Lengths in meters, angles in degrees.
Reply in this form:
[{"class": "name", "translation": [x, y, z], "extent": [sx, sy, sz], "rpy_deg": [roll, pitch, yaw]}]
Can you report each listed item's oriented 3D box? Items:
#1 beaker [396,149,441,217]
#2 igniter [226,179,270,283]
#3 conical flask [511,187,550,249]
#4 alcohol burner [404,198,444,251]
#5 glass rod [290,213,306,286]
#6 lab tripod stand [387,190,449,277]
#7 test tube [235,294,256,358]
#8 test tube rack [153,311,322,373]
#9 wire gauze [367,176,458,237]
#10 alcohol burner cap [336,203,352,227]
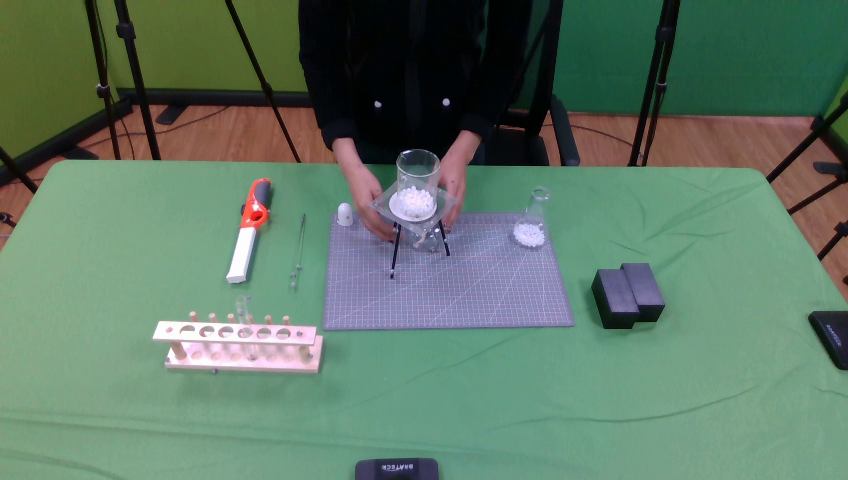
[{"class": "beaker", "translation": [-0.015, -0.098, 1.053], "extent": [0.074, 0.101, 0.083], "rpy_deg": [-31, 55, -30]}, {"class": "igniter", "translation": [-0.345, -0.027, 1.195], "extent": [0.057, 0.025, 0.274], "rpy_deg": [-6, 46, 5]}, {"class": "conical flask", "translation": [0.217, -0.048, 1.190], "extent": [0.075, 0.122, 0.075], "rpy_deg": [2, 46, -2]}, {"class": "alcohol burner", "translation": [0.001, -0.036, 1.167], "extent": [0.078, 0.119, 0.077], "rpy_deg": [4, 46, -4]}, {"class": "glass rod", "translation": [-0.244, 0.015, 1.175], "extent": [0.008, 0.008, 0.198], "rpy_deg": [1, 43, -3]}, {"class": "lab tripod stand", "translation": [-0.021, -0.018, 1.135], "extent": [0.148, 0.132, 0.147], "rpy_deg": [3, 44, -3]}, {"class": "test tube", "translation": [-0.274, 0.136, 0.933], "extent": [0.017, 0.151, 0.017], "rpy_deg": [4, 46, -4]}, {"class": "test tube rack", "translation": [-0.293, 0.160, 0.978], "extent": [0.242, 0.085, 0.066], "rpy_deg": [3, 46, -2]}, {"class": "wire gauze", "translation": [-0.020, -0.066, 1.089], "extent": [0.124, 0.011, 0.121], "rpy_deg": [27, 47, 22]}, {"class": "alcohol burner cap", "translation": [-0.162, -0.053, 1.221], "extent": [0.034, 0.048, 0.033], "rpy_deg": [2, 46, -2]}]
